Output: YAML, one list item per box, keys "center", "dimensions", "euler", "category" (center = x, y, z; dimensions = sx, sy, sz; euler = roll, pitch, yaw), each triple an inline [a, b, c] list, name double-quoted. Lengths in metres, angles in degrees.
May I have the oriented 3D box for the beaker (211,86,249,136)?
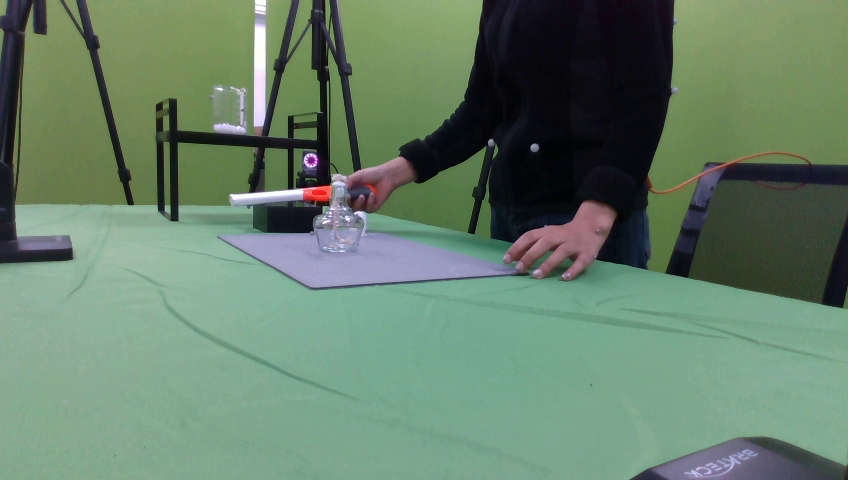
- center: [-0.413, -0.274, 1.297]
  dimensions: [0.074, 0.100, 0.083]
  euler: [-5, 11, -44]
  category: "beaker"

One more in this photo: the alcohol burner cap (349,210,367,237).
- center: [-0.118, -0.030, 1.095]
  dimensions: [0.034, 0.048, 0.034]
  euler: [2, 8, 0]
  category: "alcohol burner cap"

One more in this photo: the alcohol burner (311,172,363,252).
- center: [-0.130, -0.042, 0.906]
  dimensions: [0.078, 0.119, 0.078]
  euler: [2, 6, 0]
  category: "alcohol burner"

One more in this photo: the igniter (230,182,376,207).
- center: [-0.226, -0.088, 1.162]
  dimensions: [0.278, 0.025, 0.057]
  euler: [-7, 26, -25]
  category: "igniter"
